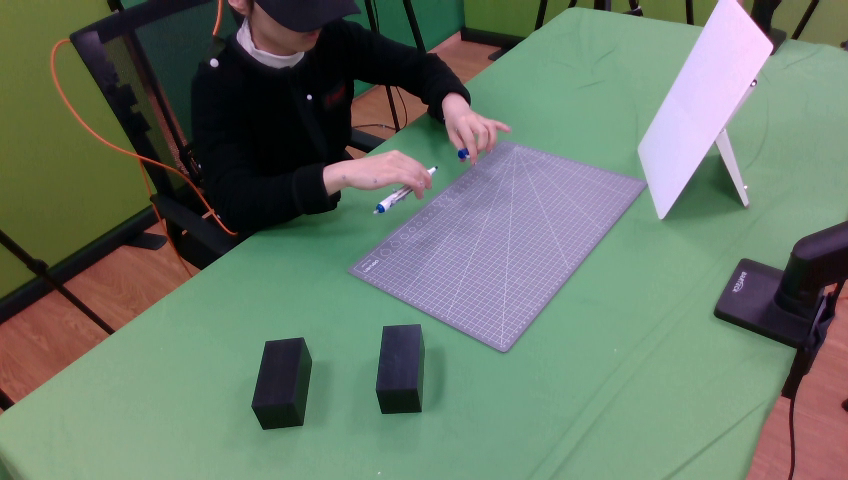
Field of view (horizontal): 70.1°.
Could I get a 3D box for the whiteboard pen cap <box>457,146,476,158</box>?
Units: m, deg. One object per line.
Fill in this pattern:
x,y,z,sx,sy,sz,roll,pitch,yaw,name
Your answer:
0.073,-0.152,1.046,0.018,0.018,0.033,29,39,35,whiteboard pen cap

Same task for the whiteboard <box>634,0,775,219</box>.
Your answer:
0.485,-0.192,0.957,0.144,0.305,0.216,14,41,-4,whiteboard

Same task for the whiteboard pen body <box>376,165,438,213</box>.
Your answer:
-0.024,-0.084,0.956,0.017,0.017,0.141,26,50,33,whiteboard pen body
